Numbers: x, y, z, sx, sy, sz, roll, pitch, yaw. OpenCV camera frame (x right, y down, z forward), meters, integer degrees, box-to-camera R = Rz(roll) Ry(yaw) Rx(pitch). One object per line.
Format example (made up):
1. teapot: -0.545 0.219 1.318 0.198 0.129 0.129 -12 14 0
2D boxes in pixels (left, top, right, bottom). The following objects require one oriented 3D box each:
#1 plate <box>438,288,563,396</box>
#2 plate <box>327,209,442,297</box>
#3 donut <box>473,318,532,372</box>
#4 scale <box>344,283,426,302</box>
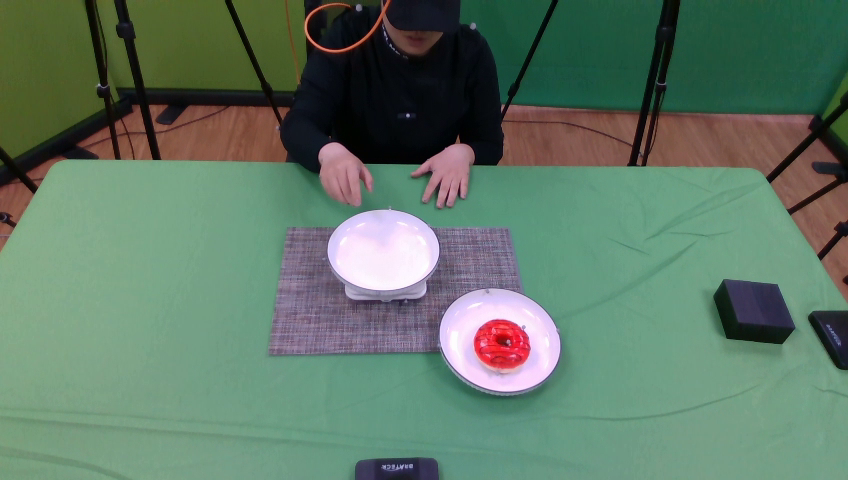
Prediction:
1. plate: 0.127 0.173 1.025 0.209 0.038 0.208 3 48 -3
2. plate: -0.071 0.027 1.110 0.208 0.039 0.206 2 46 -1
3. donut: 0.131 0.174 1.010 0.099 0.048 0.098 1 48 -1
4. scale: -0.075 0.033 1.149 0.149 0.032 0.199 0 45 -5
